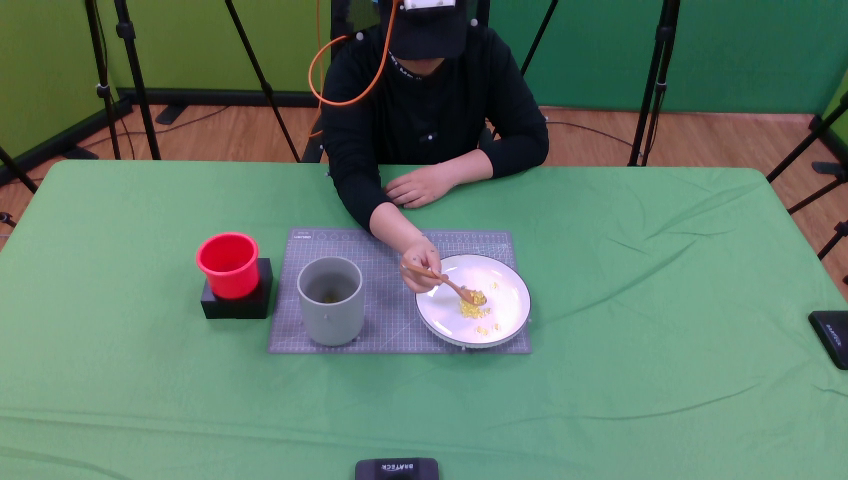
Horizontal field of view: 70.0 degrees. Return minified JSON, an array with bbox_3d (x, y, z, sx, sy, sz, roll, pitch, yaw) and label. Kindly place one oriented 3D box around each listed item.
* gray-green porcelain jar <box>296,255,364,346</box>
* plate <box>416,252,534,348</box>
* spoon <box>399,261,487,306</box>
[{"bbox_3d":[-0.153,0.106,1.008,0.106,0.127,0.105,2,46,-2],"label":"gray-green porcelain jar"},{"bbox_3d":[0.090,0.109,1.084,0.208,0.039,0.206,2,46,-2],"label":"plate"},{"bbox_3d":[0.034,0.070,1.014,0.195,0.021,0.041,31,22,-34],"label":"spoon"}]
